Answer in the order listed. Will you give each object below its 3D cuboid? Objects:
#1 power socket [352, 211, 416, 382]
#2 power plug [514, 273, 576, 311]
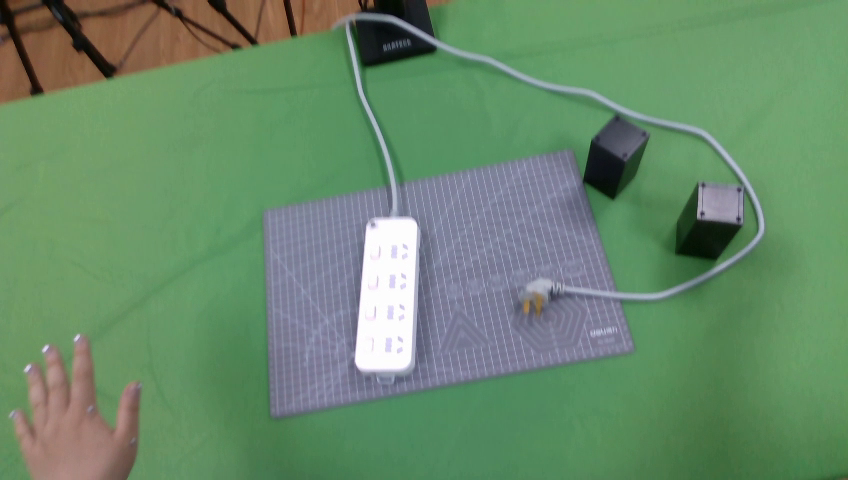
[{"bbox_3d":[-0.049,0.065,0.775,0.072,0.033,0.225,-1,66,6],"label":"power socket"},{"bbox_3d":[0.148,0.064,0.744,0.072,0.035,0.052,-2,47,19],"label":"power plug"}]
